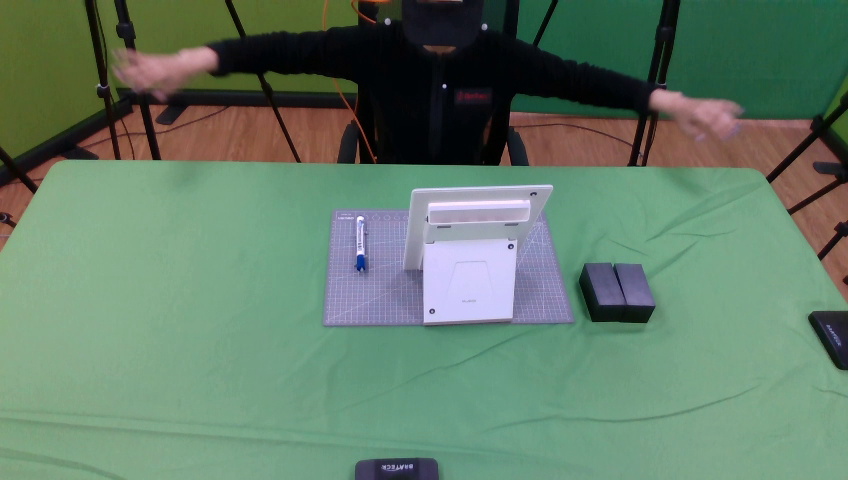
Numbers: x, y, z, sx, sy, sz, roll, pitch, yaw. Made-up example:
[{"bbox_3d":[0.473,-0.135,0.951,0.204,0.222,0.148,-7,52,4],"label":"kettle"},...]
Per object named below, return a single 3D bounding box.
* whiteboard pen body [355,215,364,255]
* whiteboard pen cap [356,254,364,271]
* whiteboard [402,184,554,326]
[{"bbox_3d":[-0.125,0.001,1.186,0.017,0.017,0.140,-2,44,-5],"label":"whiteboard pen body"},{"bbox_3d":[-0.120,0.042,1.144,0.018,0.018,0.033,-1,43,-5],"label":"whiteboard pen cap"},{"bbox_3d":[0.081,0.044,1.005,0.217,0.306,0.143,-1,66,-6],"label":"whiteboard"}]
